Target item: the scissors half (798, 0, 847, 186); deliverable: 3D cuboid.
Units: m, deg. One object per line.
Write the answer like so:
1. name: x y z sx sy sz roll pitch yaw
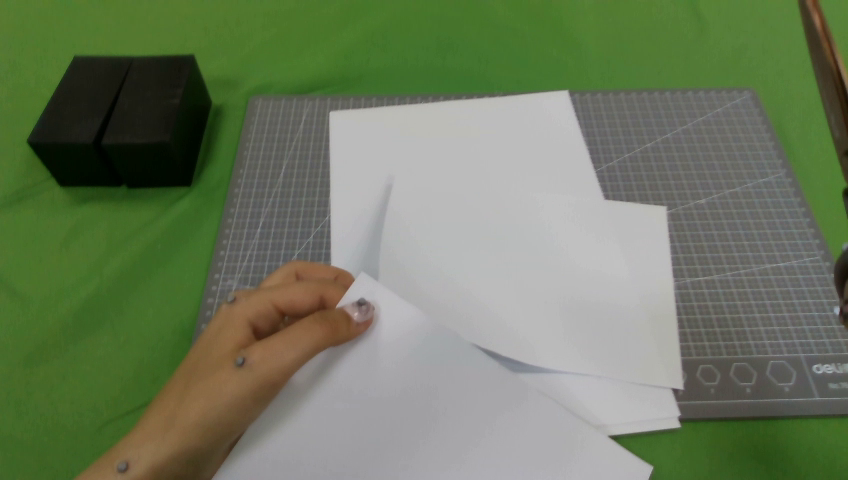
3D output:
1. scissors half: 0.179 -0.018 0.237 0.013 0.040 0.175 -20 88 5

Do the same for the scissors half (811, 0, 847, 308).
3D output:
1. scissors half: 0.181 -0.022 0.257 0.013 0.176 0.040 -19 14 10
